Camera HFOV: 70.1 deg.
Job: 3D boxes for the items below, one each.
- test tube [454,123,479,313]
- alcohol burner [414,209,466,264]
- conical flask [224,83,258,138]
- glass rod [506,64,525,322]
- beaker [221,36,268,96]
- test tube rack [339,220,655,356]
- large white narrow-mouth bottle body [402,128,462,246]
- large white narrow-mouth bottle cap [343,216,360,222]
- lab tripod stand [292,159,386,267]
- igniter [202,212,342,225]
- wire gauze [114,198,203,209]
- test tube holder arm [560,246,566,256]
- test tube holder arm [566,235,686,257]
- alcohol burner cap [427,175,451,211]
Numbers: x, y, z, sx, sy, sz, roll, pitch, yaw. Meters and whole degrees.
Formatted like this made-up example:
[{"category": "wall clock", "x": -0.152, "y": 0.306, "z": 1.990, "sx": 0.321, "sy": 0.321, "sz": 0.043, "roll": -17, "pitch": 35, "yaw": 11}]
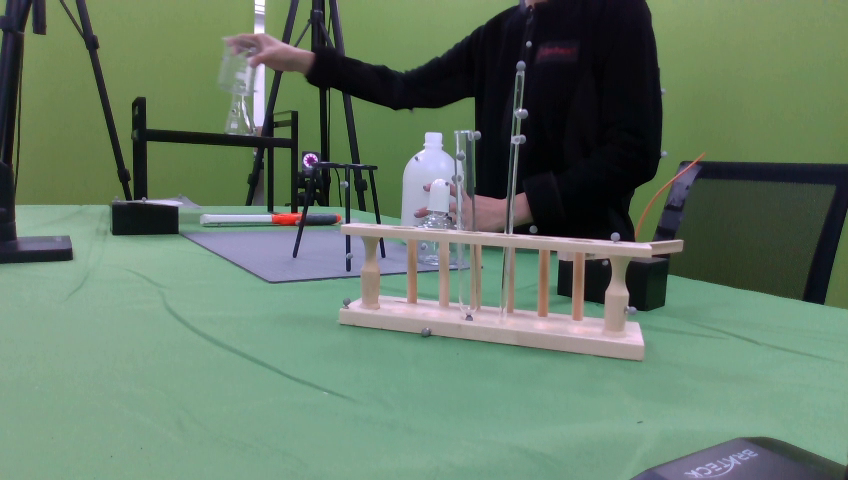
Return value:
[{"category": "test tube", "x": 0.034, "y": -0.016, "z": 0.477, "sx": 0.017, "sy": 0.150, "sz": 0.017, "roll": -2, "pitch": 9, "yaw": 1}, {"category": "alcohol burner", "x": 0.021, "y": -0.028, "z": 0.826, "sx": 0.078, "sy": 0.119, "sz": 0.078, "roll": 0, "pitch": 6, "yaw": 0}, {"category": "conical flask", "x": -0.422, "y": -0.299, "z": 1.395, "sx": 0.075, "sy": 0.122, "sz": 0.075, "roll": 2, "pitch": 7, "yaw": 0}, {"category": "glass rod", "x": 0.069, "y": -0.030, "z": 0.458, "sx": 0.008, "sy": 0.199, "sz": 0.008, "roll": 0, "pitch": 15, "yaw": 0}, {"category": "beaker", "x": -0.361, "y": -0.344, "z": 1.203, "sx": 0.073, "sy": 0.100, "sz": 0.084, "roll": 10, "pitch": -2, "yaw": 43}, {"category": "test tube rack", "x": 0.056, "y": 0.032, "z": 0.495, "sx": 0.242, "sy": 0.085, "sz": 0.067, "roll": 4, "pitch": 7, "yaw": 15}, {"category": "large white narrow-mouth bottle body", "x": 0.015, "y": -0.092, "z": 1.032, "sx": 0.102, "sy": 0.194, "sz": 0.102, "roll": 2, "pitch": 8, "yaw": 0}, {"category": "large white narrow-mouth bottle cap", "x": -0.148, "y": -0.036, "z": 1.234, "sx": 0.038, "sy": 0.024, "sz": 0.037, "roll": 2, "pitch": 8, "yaw": 0}, {"category": "lab tripod stand", "x": -0.105, "y": -0.039, "z": 0.798, "sx": 0.148, "sy": 0.131, "sz": 0.148, "roll": 2, "pitch": 5, "yaw": 0}, {"category": "igniter", "x": -0.298, "y": -0.043, "z": 1.216, "sx": 0.278, "sy": 0.025, "sz": 0.057, "roll": -3, "pitch": -2, "yaw": -32}, {"category": "wire gauze", "x": -0.447, "y": -0.062, "z": 1.015, "sx": 0.126, "sy": 0.011, "sz": 0.121, "roll": -2, "pitch": 8, "yaw": -31}, {"category": "test tube holder arm", "x": 0.173, "y": 0.007, "z": 0.612, "sx": 0.088, "sy": 0.015, "sz": 0.010, "roll": -3, "pitch": 10, "yaw": -30}, {"category": "test tube holder arm", "x": 0.215, "y": 0.006, "z": 0.630, "sx": 0.179, "sy": 0.015, "sz": 0.013, "roll": -3, "pitch": 10, "yaw": -31}, {"category": "alcohol burner cap", "x": 0.023, "y": -0.064, "z": 0.822, "sx": 0.034, "sy": 0.048, "sz": 0.034, "roll": 7, "pitch": 5, "yaw": 0}]
